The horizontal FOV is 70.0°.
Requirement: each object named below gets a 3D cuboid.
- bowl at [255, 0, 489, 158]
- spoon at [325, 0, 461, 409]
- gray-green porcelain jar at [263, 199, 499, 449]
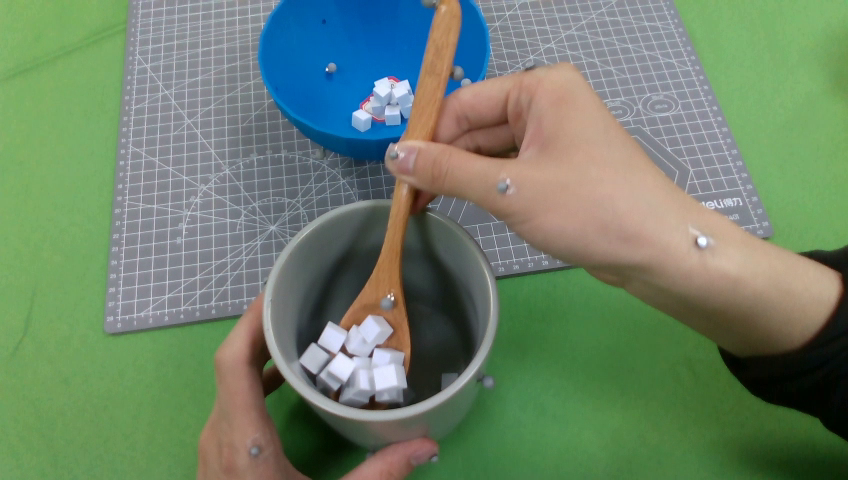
[{"bbox_3d":[-0.033,-0.111,0.424,0.151,0.077,0.150,0,65,1],"label":"bowl"},{"bbox_3d":[-0.010,-0.013,0.277,0.041,0.021,0.194,17,103,15],"label":"spoon"},{"bbox_3d":[-0.018,0.053,0.324,0.106,0.127,0.105,0,65,1],"label":"gray-green porcelain jar"}]
